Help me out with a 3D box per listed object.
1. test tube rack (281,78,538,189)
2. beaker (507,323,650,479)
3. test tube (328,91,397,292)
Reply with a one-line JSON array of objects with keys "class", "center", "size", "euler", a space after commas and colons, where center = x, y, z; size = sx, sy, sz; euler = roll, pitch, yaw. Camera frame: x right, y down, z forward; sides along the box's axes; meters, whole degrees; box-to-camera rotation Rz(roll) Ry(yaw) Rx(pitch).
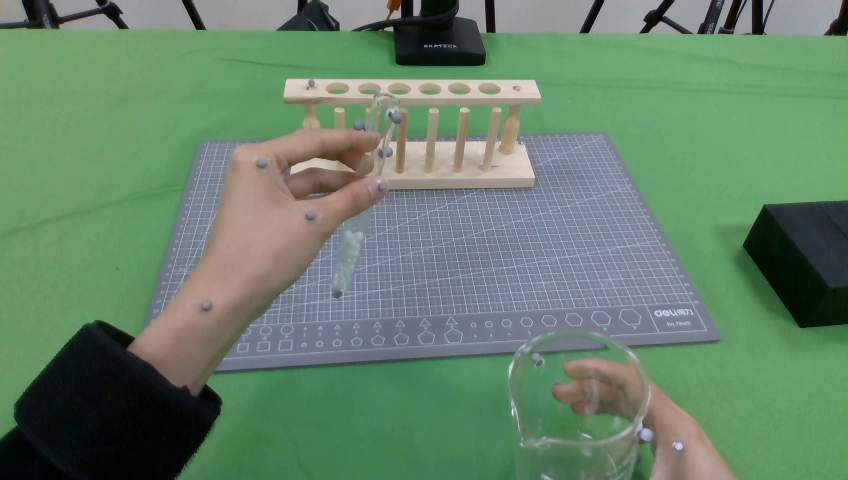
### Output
[{"class": "test tube rack", "center": [-0.013, -0.105, 0.596], "size": [0.243, 0.086, 0.066], "euler": [-1, 44, -5]}, {"class": "beaker", "center": [0.084, 0.111, 0.349], "size": [0.084, 0.101, 0.073], "euler": [-37, 48, -28]}, {"class": "test tube", "center": [-0.041, -0.023, 0.377], "size": [0.017, 0.151, 0.017], "euler": [12, 38, -9]}]
